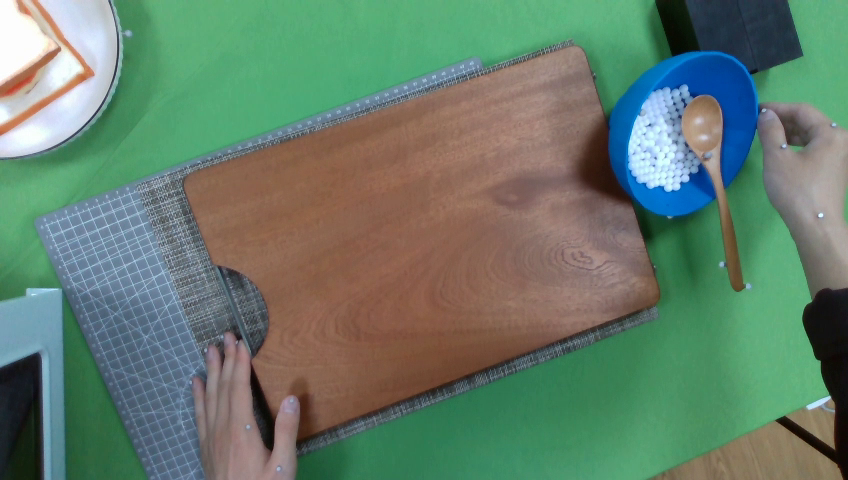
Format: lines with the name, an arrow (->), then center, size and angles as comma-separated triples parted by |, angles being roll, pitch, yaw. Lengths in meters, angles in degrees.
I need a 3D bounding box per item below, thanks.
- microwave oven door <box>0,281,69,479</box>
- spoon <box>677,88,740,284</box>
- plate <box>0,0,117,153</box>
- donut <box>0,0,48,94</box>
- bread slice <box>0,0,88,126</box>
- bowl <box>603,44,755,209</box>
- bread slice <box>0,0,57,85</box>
microwave oven door -> -0.336, 0.221, 0.448 | 0.039, 0.243, 0.356 | 0, 94, -6
spoon -> 0.280, -0.050, 0.585 | 0.042, 0.021, 0.194 | -15, 93, -9
plate -> -0.377, -0.180, 0.535 | 0.208, 0.039, 0.207 | 0, 94, -6
donut -> -0.370, -0.172, 0.507 | 0.099, 0.048, 0.099 | -1, 96, -13
bread slice -> -0.384, -0.178, 0.535 | 0.105, 0.019, 0.132 | -36, 98, -5
bowl -> 0.227, -0.113, 0.577 | 0.152, 0.076, 0.152 | -10, 117, -20
bread slice -> -0.373, -0.176, 0.477 | 0.107, 0.018, 0.134 | -39, 92, -2
